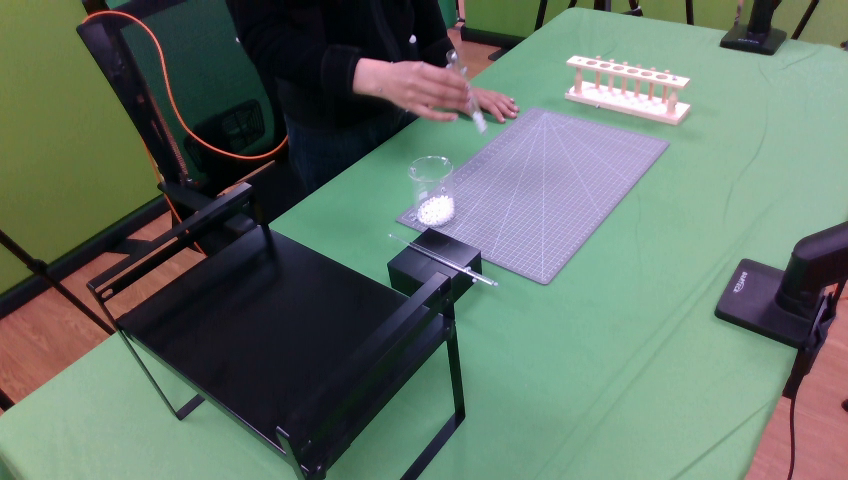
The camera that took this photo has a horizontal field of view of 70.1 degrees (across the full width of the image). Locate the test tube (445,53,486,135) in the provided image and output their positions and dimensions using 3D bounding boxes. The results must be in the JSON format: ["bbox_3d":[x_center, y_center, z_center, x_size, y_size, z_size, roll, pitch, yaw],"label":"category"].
[{"bbox_3d":[0.068,-0.228,0.955,0.017,0.151,0.017,-17,41,16],"label":"test tube"}]

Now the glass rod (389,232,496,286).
[{"bbox_3d":[0.022,0.026,0.878,0.198,0.008,0.008,25,50,33],"label":"glass rod"}]

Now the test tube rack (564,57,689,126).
[{"bbox_3d":[0.411,-0.311,1.230,0.240,0.085,0.067,23,49,32],"label":"test tube rack"}]

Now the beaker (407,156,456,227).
[{"bbox_3d":[0.016,-0.079,1.002,0.073,0.101,0.084,26,50,33],"label":"beaker"}]
